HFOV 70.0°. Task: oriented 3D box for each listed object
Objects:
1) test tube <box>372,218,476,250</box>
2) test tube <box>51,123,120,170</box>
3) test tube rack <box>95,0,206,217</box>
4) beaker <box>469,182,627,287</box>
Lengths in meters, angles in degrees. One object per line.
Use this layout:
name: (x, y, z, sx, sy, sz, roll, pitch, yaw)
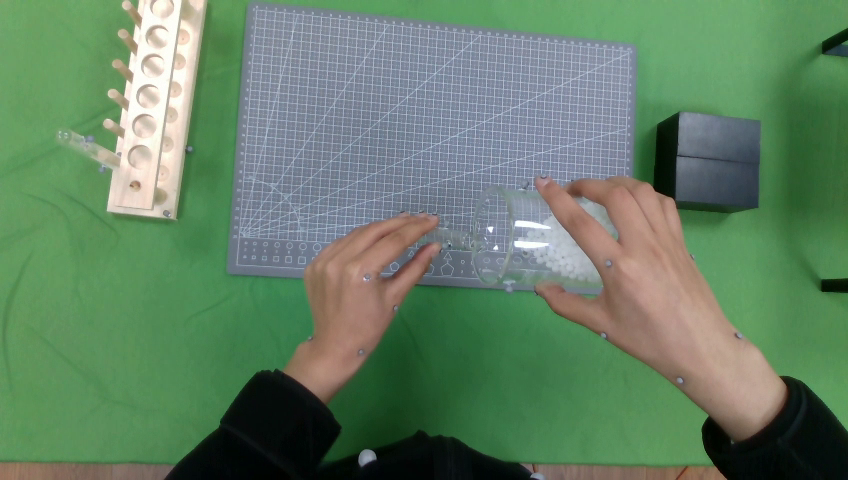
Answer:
test tube: (-0.006, -0.007, 0.541, 0.017, 0.149, 0.017, -5, 99, -34)
test tube: (-0.300, -0.082, 0.553, 0.017, 0.150, 0.017, 0, 86, -8)
test tube rack: (-0.277, -0.151, 0.606, 0.067, 0.085, 0.242, 7, 85, -7)
beaker: (0.092, -0.001, 0.458, 0.101, 0.084, 0.074, 4, 83, -17)
